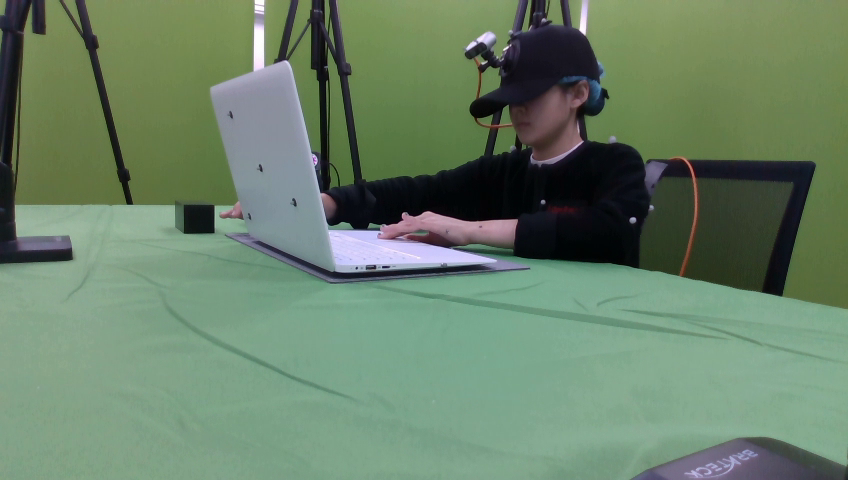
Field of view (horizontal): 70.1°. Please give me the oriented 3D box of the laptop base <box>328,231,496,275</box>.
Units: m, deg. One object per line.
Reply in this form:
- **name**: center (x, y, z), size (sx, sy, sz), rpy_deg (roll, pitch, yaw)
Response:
- **laptop base**: center (-0.091, 0.016, 0.884), size (0.237, 0.023, 0.352), rpy_deg (3, 6, -32)

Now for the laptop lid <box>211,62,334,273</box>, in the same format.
- **laptop lid**: center (-0.211, -0.095, 0.791), size (0.013, 0.241, 0.355), rpy_deg (-18, 18, -29)

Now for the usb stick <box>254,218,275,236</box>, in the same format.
- **usb stick**: center (-0.263, -0.021, 1.004), size (0.021, 0.027, 0.059), rpy_deg (-2, 11, -33)
